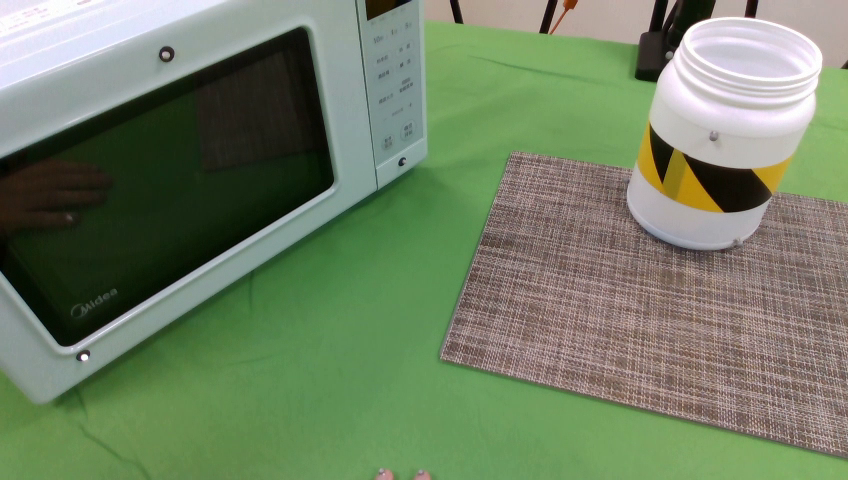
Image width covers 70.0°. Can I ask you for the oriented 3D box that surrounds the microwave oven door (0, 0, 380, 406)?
[{"bbox_3d":[-0.187,-0.051,0.478,0.039,0.246,0.355,34,56,31],"label":"microwave oven door"}]

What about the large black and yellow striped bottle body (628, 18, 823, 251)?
[{"bbox_3d":[0.273,-0.095,0.563,0.131,0.186,0.129,-1,45,1],"label":"large black and yellow striped bottle body"}]

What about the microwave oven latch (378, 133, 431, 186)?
[{"bbox_3d":[-0.027,-0.092,0.656,0.079,0.030,0.030,-35,54,-27],"label":"microwave oven latch"}]

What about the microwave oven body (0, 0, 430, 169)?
[{"bbox_3d":[-0.260,-0.139,0.575,0.323,0.262,0.441,35,57,30],"label":"microwave oven body"}]
